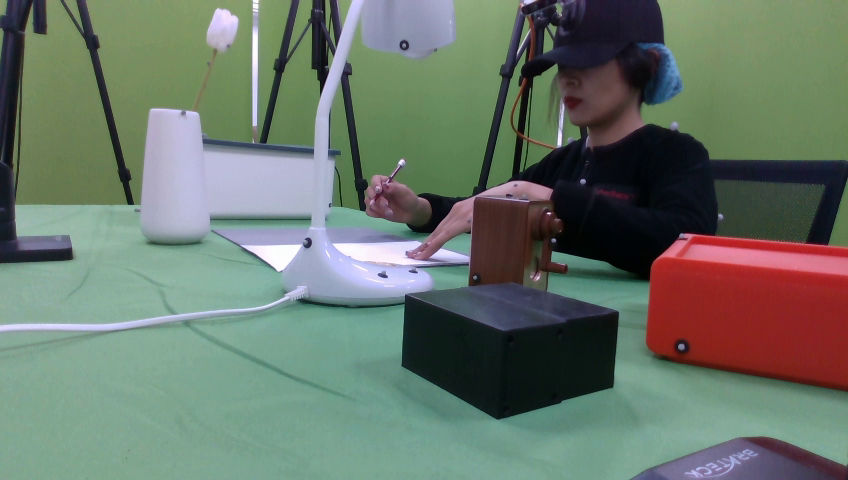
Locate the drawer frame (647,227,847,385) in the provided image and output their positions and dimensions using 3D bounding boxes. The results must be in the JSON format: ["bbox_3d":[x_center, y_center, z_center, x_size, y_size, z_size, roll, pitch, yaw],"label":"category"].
[{"bbox_3d":[0.303,0.043,0.495,0.201,0.082,0.214,6,9,26],"label":"drawer frame"}]

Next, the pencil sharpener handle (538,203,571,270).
[{"bbox_3d":[0.137,-0.003,0.619,0.030,0.067,0.036,8,6,38],"label":"pencil sharpener handle"}]

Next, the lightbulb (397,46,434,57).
[{"bbox_3d":[-0.017,-0.264,0.692,0.059,0.108,0.059,-9,28,5],"label":"lightbulb"}]

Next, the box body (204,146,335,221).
[{"bbox_3d":[-0.410,-0.135,1.386,0.366,0.160,0.253,-2,9,-29],"label":"box body"}]

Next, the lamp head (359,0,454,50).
[{"bbox_3d":[-0.024,-0.282,0.675,0.112,0.123,0.112,-3,38,3],"label":"lamp head"}]

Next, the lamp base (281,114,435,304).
[{"bbox_3d":[-0.071,-0.034,0.614,0.160,0.180,0.180,6,10,27],"label":"lamp base"}]

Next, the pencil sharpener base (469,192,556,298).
[{"bbox_3d":[0.097,0.003,0.652,0.076,0.107,0.061,8,9,38],"label":"pencil sharpener base"}]

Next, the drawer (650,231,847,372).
[{"bbox_3d":[0.303,0.044,0.499,0.194,0.073,0.212,7,9,27],"label":"drawer"}]

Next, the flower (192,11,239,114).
[{"bbox_3d":[-0.354,-0.174,0.915,0.038,0.361,0.044,18,-4,12],"label":"flower"}]

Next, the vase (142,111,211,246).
[{"bbox_3d":[-0.378,-0.093,0.920,0.098,0.200,0.098,2,9,0],"label":"vase"}]

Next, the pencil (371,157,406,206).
[{"bbox_3d":[-0.063,-0.107,1.085,0.012,0.012,0.194,4,32,15],"label":"pencil"}]

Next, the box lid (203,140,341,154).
[{"bbox_3d":[-0.396,-0.212,1.373,0.373,0.015,0.262,-1,9,-29],"label":"box lid"}]
